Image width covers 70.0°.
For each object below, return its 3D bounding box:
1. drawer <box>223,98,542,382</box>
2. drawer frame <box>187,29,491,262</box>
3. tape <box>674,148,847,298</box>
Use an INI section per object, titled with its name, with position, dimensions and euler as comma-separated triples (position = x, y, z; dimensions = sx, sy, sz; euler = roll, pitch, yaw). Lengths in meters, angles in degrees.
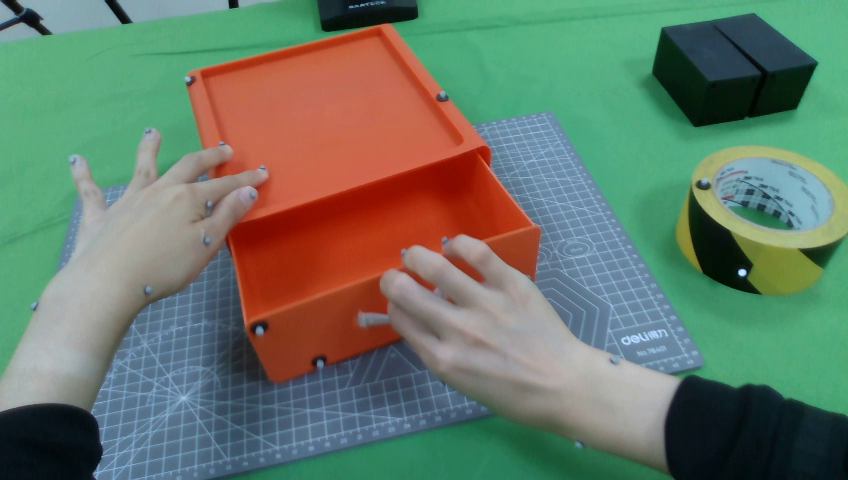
[drawer]
position = -0.047, -0.021, 0.459
dimensions = 0.195, 0.074, 0.209
euler = -18, 48, -12
[drawer frame]
position = -0.079, -0.079, 0.515
dimensions = 0.202, 0.083, 0.211
euler = -20, 48, -13
[tape]
position = 0.251, -0.016, 0.456
dimensions = 0.117, 0.053, 0.115
euler = -2, 46, 2
